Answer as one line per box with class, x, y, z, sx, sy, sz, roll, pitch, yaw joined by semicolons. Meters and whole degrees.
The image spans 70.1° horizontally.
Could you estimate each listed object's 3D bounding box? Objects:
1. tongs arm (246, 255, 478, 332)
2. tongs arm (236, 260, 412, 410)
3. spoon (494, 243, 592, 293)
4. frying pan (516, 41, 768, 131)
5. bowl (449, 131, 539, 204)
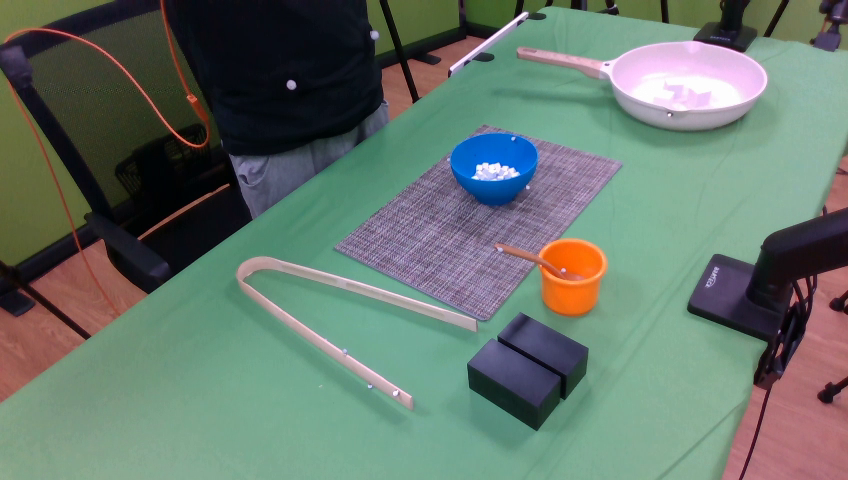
tongs arm;-0.101;0.075;0.890;0.385;0.028;0.028;14;47;23
tongs arm;-0.148;0.119;0.840;0.381;0.026;0.051;24;49;32
spoon;0.162;0.034;0.808;0.021;0.195;0.041;-47;40;21
frying pan;0.424;-0.338;1.236;0.486;0.103;0.307;19;45;15
bowl;0.121;-0.114;1.034;0.151;0.077;0.150;-4;41;4
